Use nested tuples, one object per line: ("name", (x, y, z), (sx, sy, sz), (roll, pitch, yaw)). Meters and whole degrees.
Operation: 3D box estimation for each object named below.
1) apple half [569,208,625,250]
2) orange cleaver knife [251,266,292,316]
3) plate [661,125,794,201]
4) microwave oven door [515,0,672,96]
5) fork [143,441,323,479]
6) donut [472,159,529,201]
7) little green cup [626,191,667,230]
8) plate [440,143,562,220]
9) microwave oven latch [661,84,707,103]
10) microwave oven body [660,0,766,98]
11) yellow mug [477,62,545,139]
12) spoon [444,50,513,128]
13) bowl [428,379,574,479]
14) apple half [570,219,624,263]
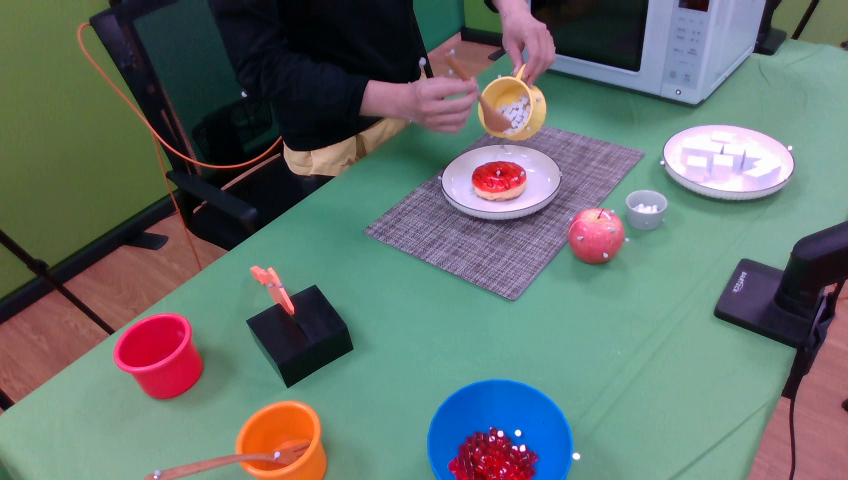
("apple half", (0.262, -0.014, 0.913), (0.080, 0.075, 0.053), (5, 37, 20))
("orange cleaver knife", (-0.221, 0.071, 0.873), (0.012, 0.077, 0.210), (-25, 11, -21))
("plate", (0.513, -0.128, 1.035), (0.207, 0.039, 0.206), (-4, 40, 4))
("microwave oven door", (0.343, -0.455, 1.259), (0.353, 0.245, 0.039), (26, 51, 33))
("fork", (-0.189, 0.231, 0.631), (0.028, 0.018, 0.209), (35, 13, 37))
("donut", (0.132, -0.105, 1.043), (0.099, 0.048, 0.098), (-5, 38, 4))
("little green cup", (0.352, -0.046, 0.963), (0.061, 0.039, 0.061), (-4, 40, 4))
("plate", (0.134, -0.098, 1.051), (0.209, 0.038, 0.208), (-4, 40, 4))
("microwave oven latch", (0.517, -0.296, 1.204), (0.078, 0.029, 0.030), (27, 52, 35))
("microwave oven body", (0.472, -0.513, 1.317), (0.438, 0.261, 0.327), (26, 51, 34))
("yellow mug", (0.154, -0.238, 1.027), (0.099, 0.131, 0.064), (27, 17, 24))
("spoon", (0.082, -0.227, 0.927), (0.041, 0.195, 0.021), (-16, 53, 30))
("bowl", (0.082, 0.233, 0.644), (0.151, 0.077, 0.150), (-4, 40, 4))
("apple half", (0.250, 0.009, 0.885), (0.081, 0.081, 0.033), (7, 39, 17))
